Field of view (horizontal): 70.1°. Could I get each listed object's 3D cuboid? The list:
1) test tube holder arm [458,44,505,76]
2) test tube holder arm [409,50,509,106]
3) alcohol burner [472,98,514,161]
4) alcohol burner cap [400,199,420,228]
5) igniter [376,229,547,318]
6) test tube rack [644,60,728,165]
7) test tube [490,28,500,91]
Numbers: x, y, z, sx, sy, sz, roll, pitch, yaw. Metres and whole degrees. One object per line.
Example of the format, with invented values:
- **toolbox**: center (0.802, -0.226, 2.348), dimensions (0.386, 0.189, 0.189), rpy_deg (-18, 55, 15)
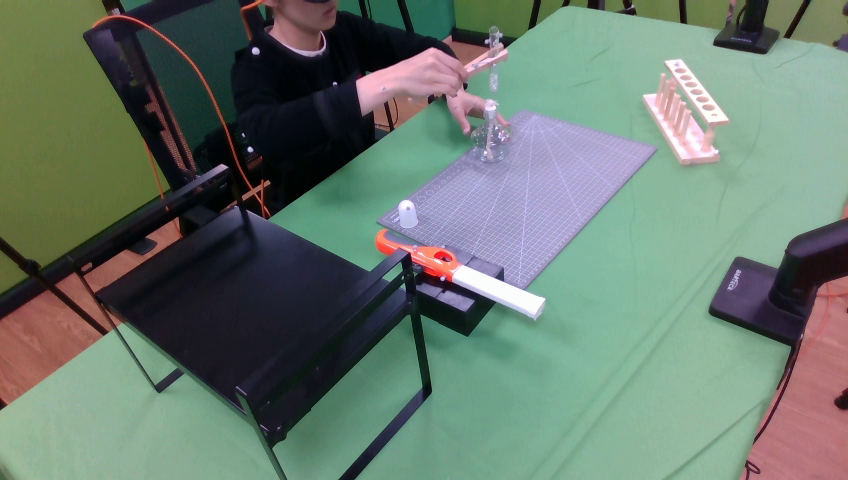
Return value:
- **test tube holder arm**: center (0.095, -0.293, 0.996), dimensions (0.088, 0.015, 0.010), rpy_deg (-34, 64, -1)
- **test tube holder arm**: center (0.058, -0.267, 0.995), dimensions (0.178, 0.015, 0.013), rpy_deg (-27, 64, 2)
- **alcohol burner**: center (0.127, -0.208, 1.124), dimensions (0.078, 0.119, 0.077), rpy_deg (-5, 39, 4)
- **alcohol burner cap**: center (-0.025, -0.047, 1.014), dimensions (0.034, 0.048, 0.033), rpy_deg (-4, 42, 4)
- **igniter**: center (0.040, 0.041, 0.845), dimensions (0.274, 0.025, 0.057), rpy_deg (22, 46, 27)
- **test tube rack**: center (0.486, -0.246, 1.140), dimensions (0.067, 0.085, 0.241), rpy_deg (-5, 41, 4)
- **test tube**: center (0.119, -0.296, 1.007), dimensions (0.017, 0.151, 0.017), rpy_deg (-2, 68, 6)
